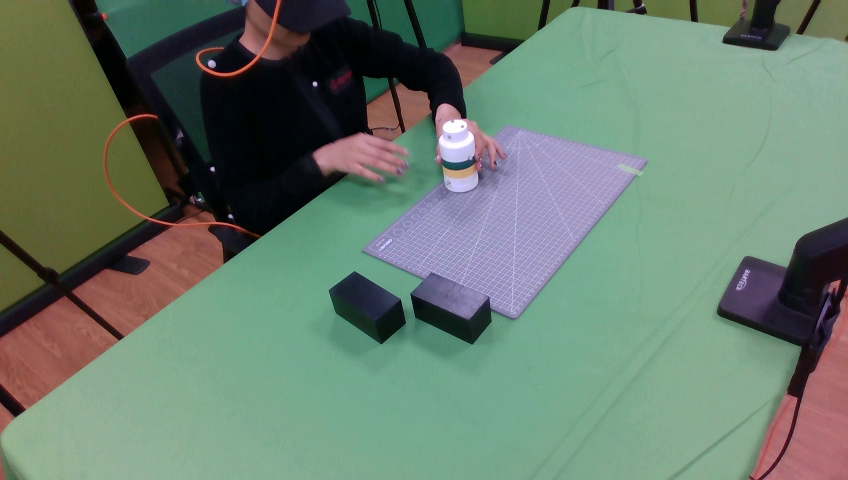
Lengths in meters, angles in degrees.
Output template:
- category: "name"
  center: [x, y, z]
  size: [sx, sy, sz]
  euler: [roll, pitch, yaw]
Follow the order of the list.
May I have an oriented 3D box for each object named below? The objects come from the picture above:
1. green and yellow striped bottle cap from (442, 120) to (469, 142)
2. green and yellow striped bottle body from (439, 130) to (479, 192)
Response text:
- category: "green and yellow striped bottle cap"
  center: [0.053, -0.188, 1.032]
  size: [0.045, 0.020, 0.045]
  euler: [-5, 39, 4]
- category: "green and yellow striped bottle body"
  center: [0.062, -0.149, 1.066]
  size: [0.063, 0.120, 0.063]
  euler: [-6, 40, 5]
